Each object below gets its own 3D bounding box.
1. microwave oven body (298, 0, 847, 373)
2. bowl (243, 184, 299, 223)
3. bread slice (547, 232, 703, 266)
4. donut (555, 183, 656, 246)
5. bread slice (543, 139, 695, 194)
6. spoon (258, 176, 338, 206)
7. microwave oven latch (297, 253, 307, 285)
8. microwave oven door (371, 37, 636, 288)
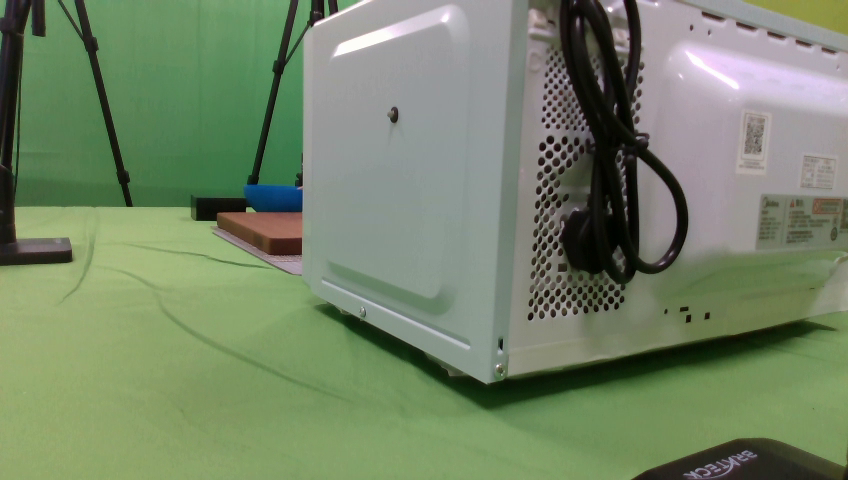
[{"bbox_3d":[0.151,-0.055,0.543,0.444,0.260,0.324,-1,7,-33],"label":"microwave oven body"},{"bbox_3d":[-0.321,-0.081,1.333,0.151,0.077,0.151,3,7,0],"label":"bowl"},{"bbox_3d":[0.201,0.010,0.589,0.105,0.019,0.131,8,-8,-26],"label":"bread slice"},{"bbox_3d":[0.183,-0.027,0.612,0.099,0.048,0.099,13,-12,3],"label":"donut"},{"bbox_3d":[0.201,-0.074,0.609,0.133,0.018,0.107,25,17,38],"label":"bread slice"},{"bbox_3d":[-0.279,-0.112,1.356,0.194,0.021,0.041,-28,18,-27],"label":"spoon"},{"bbox_3d":[-0.082,0.027,0.582,0.079,0.029,0.030,-1,7,-32],"label":"microwave oven latch"},{"bbox_3d":[0.109,-0.080,0.686,0.358,0.243,0.039,-2,9,-33],"label":"microwave oven door"}]
